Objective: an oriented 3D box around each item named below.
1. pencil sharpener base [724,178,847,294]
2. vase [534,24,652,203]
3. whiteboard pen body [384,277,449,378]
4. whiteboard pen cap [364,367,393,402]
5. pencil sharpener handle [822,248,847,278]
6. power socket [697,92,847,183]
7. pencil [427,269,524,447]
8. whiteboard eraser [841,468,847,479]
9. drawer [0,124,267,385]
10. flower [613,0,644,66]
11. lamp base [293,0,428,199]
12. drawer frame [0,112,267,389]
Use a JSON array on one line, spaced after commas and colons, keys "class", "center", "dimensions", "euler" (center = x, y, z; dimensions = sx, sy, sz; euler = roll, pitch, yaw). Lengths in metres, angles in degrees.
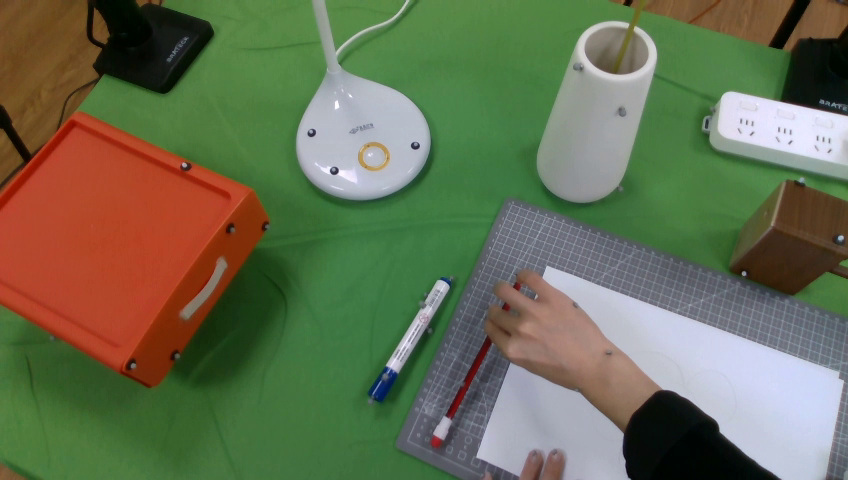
[{"class": "pencil sharpener base", "center": [0.361, 0.000, 0.601], "dimensions": [0.076, 0.108, 0.061], "euler": [23, 67, 13]}, {"class": "vase", "center": [0.168, -0.121, 0.616], "dimensions": [0.098, 0.201, 0.097], "euler": [-1, 63, 3]}, {"class": "whiteboard pen body", "center": [-0.013, 0.096, 0.615], "dimensions": [0.017, 0.017, 0.140], "euler": [25, 64, 14]}, {"class": "whiteboard pen cap", "center": [-0.043, 0.140, 0.591], "dimensions": [0.018, 0.018, 0.033], "euler": [26, 62, 15]}, {"class": "pencil sharpener handle", "center": [0.407, 0.014, 0.579], "dimensions": [0.030, 0.068, 0.036], "euler": [23, 66, 13]}, {"class": "power socket", "center": [0.435, -0.115, 0.695], "dimensions": [0.226, 0.033, 0.072], "euler": [15, 66, 9]}, {"class": "pencil", "center": [0.053, 0.111, 0.588], "dimensions": [0.012, 0.012, 0.193], "euler": [27, 77, 15]}, {"class": "whiteboard eraser", "center": [0.381, 0.256, 0.510], "dimensions": [0.055, 0.042, 0.112], "euler": [16, 66, 8]}, {"class": "drawer", "center": [-0.296, 0.005, 0.588], "dimensions": [0.211, 0.074, 0.193], "euler": [24, 68, 13]}, {"class": "flower", "center": [0.178, -0.170, 0.548], "dimensions": [0.038, 0.364, 0.043], "euler": [9, 46, -1]}, {"class": "lamp base", "center": [-0.086, -0.162, 0.656], "dimensions": [0.160, 0.182, 0.177], "euler": [-30, 64, -12]}, {"class": "drawer frame", "center": [-0.302, 0.005, 0.591], "dimensions": [0.213, 0.083, 0.201], "euler": [24, 68, 11]}]
